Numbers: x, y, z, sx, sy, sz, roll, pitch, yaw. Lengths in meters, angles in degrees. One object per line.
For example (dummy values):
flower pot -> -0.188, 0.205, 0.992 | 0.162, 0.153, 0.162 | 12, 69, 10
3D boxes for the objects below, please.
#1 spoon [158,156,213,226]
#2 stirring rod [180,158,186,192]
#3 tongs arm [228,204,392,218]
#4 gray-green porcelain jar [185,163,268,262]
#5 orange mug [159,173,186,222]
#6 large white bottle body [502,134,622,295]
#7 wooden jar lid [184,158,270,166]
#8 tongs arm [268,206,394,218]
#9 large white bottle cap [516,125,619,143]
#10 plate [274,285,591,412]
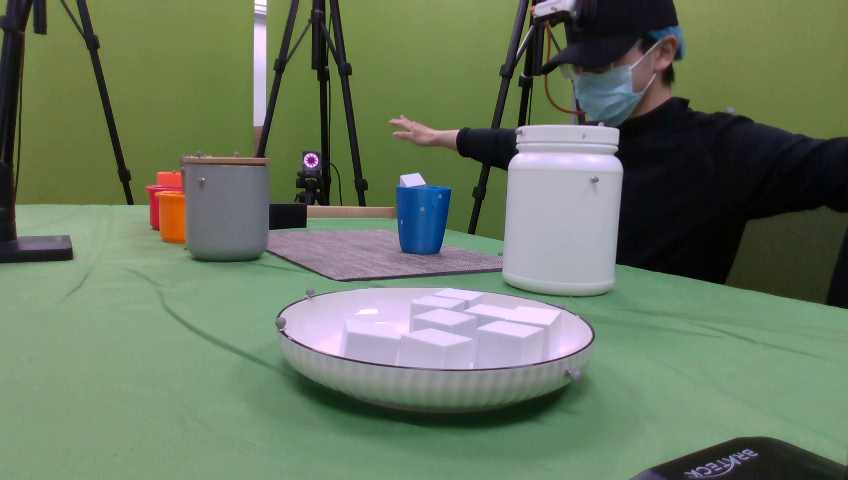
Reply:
spoon -> -0.434, -0.094, 1.121 | 0.041, 0.022, 0.193 | 5, 51, 13
stirring rod -> -0.380, -0.071, 0.980 | 0.014, 0.006, 0.175 | -5, 53, -25
tongs arm -> -0.268, -0.070, 1.454 | 0.389, 0.027, 0.028 | 0, -1, -18
gray-green porcelain jar -> -0.263, -0.038, 0.809 | 0.106, 0.126, 0.106 | 3, 8, 0
orange mug -> -0.477, -0.089, 1.241 | 0.127, 0.101, 0.083 | -7, 11, -33
large white bottle body -> 0.161, -0.037, 0.706 | 0.131, 0.184, 0.130 | 2, 7, 0
wooden jar lid -> -0.260, -0.099, 0.801 | 0.108, 0.020, 0.108 | 0, 9, 0
tongs arm -> -0.231, -0.064, 1.380 | 0.387, 0.026, 0.050 | -1, 3, -32
large white bottle cap -> 0.164, -0.120, 0.695 | 0.115, 0.018, 0.115 | 2, 7, 0
plate -> 0.005, 0.069, 0.408 | 0.208, 0.039, 0.207 | 2, 7, 0
